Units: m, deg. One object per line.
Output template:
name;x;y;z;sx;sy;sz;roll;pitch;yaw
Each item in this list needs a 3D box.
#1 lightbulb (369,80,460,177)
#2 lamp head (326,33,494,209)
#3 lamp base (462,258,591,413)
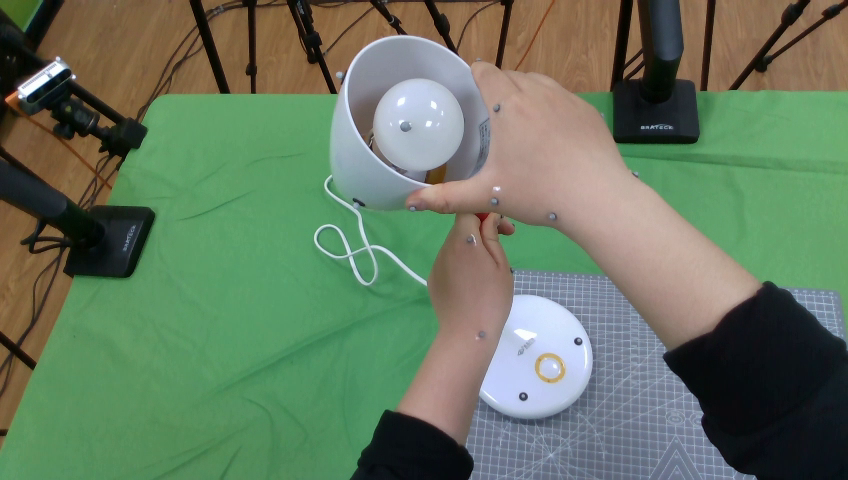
lightbulb;-0.014;-0.066;0.423;0.060;0.108;0.059;8;65;-17
lamp head;-0.020;-0.071;0.448;0.113;0.123;0.111;7;69;-17
lamp base;0.105;0.096;0.701;0.178;0.182;0.160;28;69;25
